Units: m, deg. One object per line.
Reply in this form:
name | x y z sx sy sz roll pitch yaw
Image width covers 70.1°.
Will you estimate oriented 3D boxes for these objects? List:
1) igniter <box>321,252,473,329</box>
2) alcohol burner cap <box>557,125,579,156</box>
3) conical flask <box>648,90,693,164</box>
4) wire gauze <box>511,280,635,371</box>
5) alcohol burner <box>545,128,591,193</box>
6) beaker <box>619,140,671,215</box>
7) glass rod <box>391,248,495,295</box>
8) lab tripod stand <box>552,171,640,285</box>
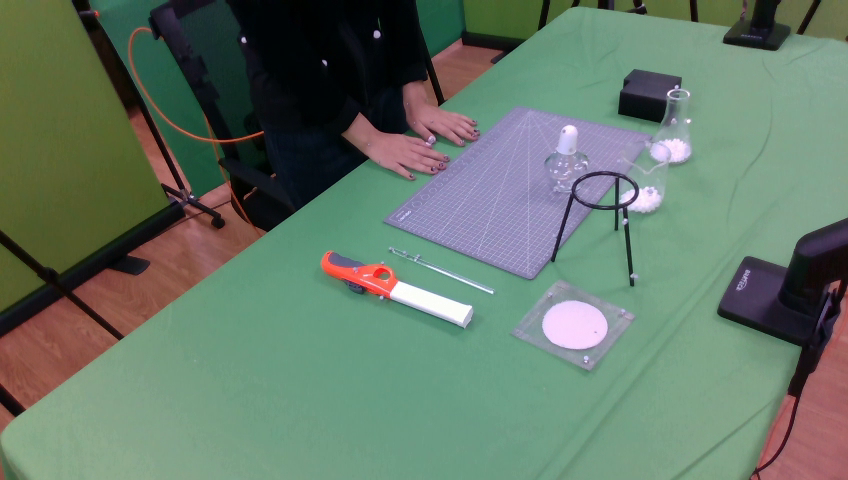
igniter | -0.051 0.071 0.906 0.274 0.025 0.057 18 57 29
alcohol burner cap | 0.241 -0.167 1.004 0.034 0.048 0.033 0 39 1
conical flask | 0.437 -0.199 1.057 0.075 0.122 0.075 -5 40 5
wire gauze | 0.203 0.114 0.822 0.120 0.011 0.125 25 52 35
alcohol burner | 0.245 -0.141 1.028 0.078 0.119 0.077 -5 42 5
beaker | 0.352 -0.096 0.971 0.074 0.101 0.084 1 42 13
glass rod | 0.026 0.046 0.936 0.198 0.008 0.008 22 50 32
lab tripod stand | 0.260 -0.025 0.877 0.148 0.132 0.147 -6 38 5
